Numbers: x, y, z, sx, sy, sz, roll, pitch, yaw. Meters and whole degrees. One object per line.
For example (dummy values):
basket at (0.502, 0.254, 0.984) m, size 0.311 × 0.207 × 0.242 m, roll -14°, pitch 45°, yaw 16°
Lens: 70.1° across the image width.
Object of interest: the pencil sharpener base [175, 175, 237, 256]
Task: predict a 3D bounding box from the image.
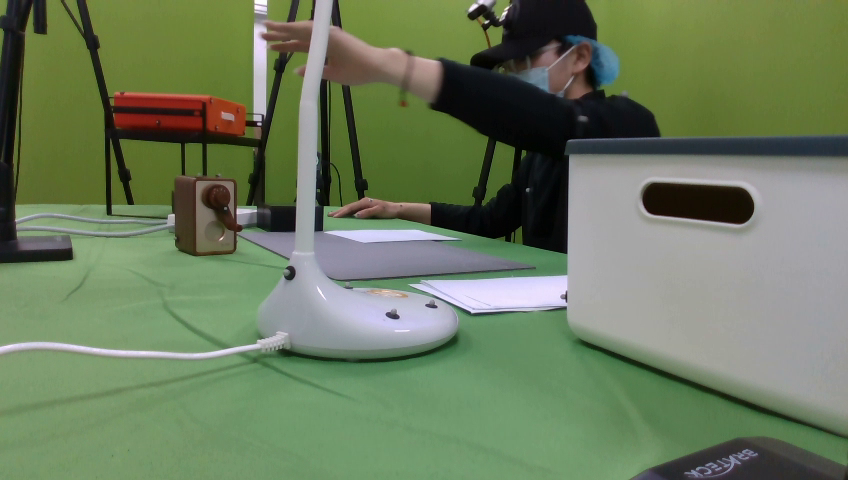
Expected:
pencil sharpener base at (-0.305, -0.036, 0.847) m, size 0.062 × 0.107 × 0.076 m, roll -4°, pitch 10°, yaw -42°

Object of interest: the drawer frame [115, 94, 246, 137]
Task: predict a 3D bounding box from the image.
drawer frame at (-0.543, -0.281, 1.374) m, size 0.213 × 0.082 × 0.201 m, roll 2°, pitch 8°, yaw 4°

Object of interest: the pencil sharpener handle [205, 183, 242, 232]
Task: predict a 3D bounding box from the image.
pencil sharpener handle at (-0.265, -0.043, 0.813) m, size 0.036 × 0.068 × 0.030 m, roll -32°, pitch 28°, yaw -35°

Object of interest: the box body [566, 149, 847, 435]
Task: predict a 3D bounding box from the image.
box body at (0.318, 0.009, 0.471) m, size 0.366 × 0.160 × 0.253 m, roll -2°, pitch 8°, yaw -31°

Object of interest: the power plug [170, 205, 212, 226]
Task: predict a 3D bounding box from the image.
power plug at (-0.456, -0.041, 1.196) m, size 0.052 × 0.035 × 0.072 m, roll 1°, pitch 42°, yaw 23°

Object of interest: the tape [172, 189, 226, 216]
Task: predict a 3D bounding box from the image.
tape at (-0.515, -0.087, 1.388) m, size 0.117 × 0.052 × 0.117 m, roll 3°, pitch 8°, yaw 0°

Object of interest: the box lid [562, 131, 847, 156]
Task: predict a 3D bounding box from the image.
box lid at (0.322, -0.064, 0.463) m, size 0.373 × 0.015 × 0.262 m, roll -2°, pitch 9°, yaw -31°

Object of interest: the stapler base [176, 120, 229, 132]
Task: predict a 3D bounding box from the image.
stapler base at (-0.496, -0.257, 1.364) m, size 0.041 × 0.024 × 0.131 m, roll 2°, pitch 9°, yaw 22°

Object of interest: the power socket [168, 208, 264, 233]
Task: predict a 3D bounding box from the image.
power socket at (-0.381, -0.038, 1.130) m, size 0.072 × 0.032 × 0.227 m, roll 4°, pitch 8°, yaw 17°

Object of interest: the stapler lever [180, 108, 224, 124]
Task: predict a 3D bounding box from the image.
stapler lever at (-0.496, -0.281, 1.359) m, size 0.027 × 0.040 × 0.118 m, roll 2°, pitch 7°, yaw 22°

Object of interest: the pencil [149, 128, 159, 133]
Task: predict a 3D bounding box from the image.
pencil at (-0.528, -0.258, 1.361) m, size 0.012 × 0.012 × 0.195 m, roll 8°, pitch 20°, yaw 35°

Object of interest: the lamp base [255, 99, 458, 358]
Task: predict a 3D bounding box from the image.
lamp base at (-0.056, -0.013, 0.462) m, size 0.160 × 0.180 × 0.180 m, roll 6°, pitch 11°, yaw 27°

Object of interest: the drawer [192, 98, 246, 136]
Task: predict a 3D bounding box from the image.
drawer at (-0.540, -0.279, 1.374) m, size 0.212 × 0.073 × 0.194 m, roll 2°, pitch 8°, yaw 5°
